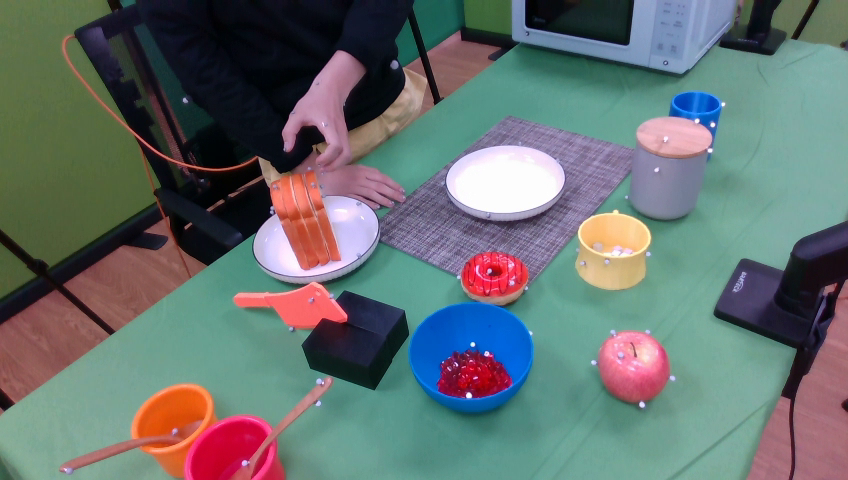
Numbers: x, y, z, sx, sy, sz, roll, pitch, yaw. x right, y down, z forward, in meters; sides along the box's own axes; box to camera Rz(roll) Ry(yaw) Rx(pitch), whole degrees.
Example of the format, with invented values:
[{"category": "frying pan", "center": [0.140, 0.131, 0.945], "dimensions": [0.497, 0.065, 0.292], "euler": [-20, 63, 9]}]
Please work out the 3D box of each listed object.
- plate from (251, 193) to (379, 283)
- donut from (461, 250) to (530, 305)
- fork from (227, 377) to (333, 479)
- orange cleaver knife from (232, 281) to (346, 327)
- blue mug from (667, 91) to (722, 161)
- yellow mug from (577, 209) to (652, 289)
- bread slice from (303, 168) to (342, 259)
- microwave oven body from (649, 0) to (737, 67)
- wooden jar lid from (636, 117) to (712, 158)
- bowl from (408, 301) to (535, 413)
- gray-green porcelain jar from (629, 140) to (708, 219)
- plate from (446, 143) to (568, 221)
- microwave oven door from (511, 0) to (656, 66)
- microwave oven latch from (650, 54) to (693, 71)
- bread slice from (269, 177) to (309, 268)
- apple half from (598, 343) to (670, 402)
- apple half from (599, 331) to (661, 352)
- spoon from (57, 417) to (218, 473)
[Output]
[{"category": "plate", "center": [-0.174, -0.001, 0.984], "dimensions": [0.209, 0.038, 0.208], "euler": [-4, 41, 4]}, {"category": "donut", "center": [0.103, 0.053, 0.872], "dimensions": [0.099, 0.048, 0.098], "euler": [-4, 40, 4]}, {"category": "fork", "center": [-0.163, 0.216, 0.647], "dimensions": [0.207, 0.019, 0.028], "euler": [-49, 41, 16]}, {"category": "orange cleaver knife", "center": [-0.192, 0.093, 0.844], "dimensions": [0.210, 0.077, 0.012], "euler": [-7, 31, 38]}, {"category": "blue mug", "center": [0.474, -0.207, 1.079], "dimensions": [0.082, 0.106, 0.116], "euler": [4, 42, 13]}, {"category": "yellow mug", "center": [0.279, 0.004, 0.893], "dimensions": [0.099, 0.064, 0.130], "euler": [5, 41, 15]}, {"category": "bread slice", "center": [-0.161, -0.046, 0.952], "dimensions": [0.018, 0.135, 0.106], "euler": [-18, 45, -6]}, {"category": "microwave oven body", "center": [0.475, -0.602, 1.411], "dimensions": [0.438, 0.261, 0.327], "euler": [23, 50, 32]}, {"category": "wooden jar lid", "center": [0.377, -0.151, 0.917], "dimensions": [0.108, 0.021, 0.108], "euler": [-2, 42, 3]}, {"category": "bowl", "center": [0.059, 0.156, 0.739], "dimensions": [0.151, 0.077, 0.150], "euler": [-4, 40, 4]}, {"category": "gray-green porcelain jar", "center": [0.383, -0.105, 0.958], "dimensions": [0.106, 0.127, 0.105], "euler": [-4, 41, 4]}, {"category": "plate", "center": [0.142, -0.096, 1.045], "dimensions": [0.207, 0.039, 0.206], "euler": [-4, 40, 4]}, {"category": "microwave oven door", "center": [0.350, -0.539, 1.348], "dimensions": [0.353, 0.245, 0.039], "euler": [24, 50, 31]}, {"category": "microwave oven latch", "center": [0.531, -0.386, 1.301], "dimensions": [0.078, 0.029, 0.030], "euler": [26, 51, 33]}, {"category": "bread slice", "center": [-0.211, -0.034, 0.946], "dimensions": [0.019, 0.132, 0.104], "euler": [-18, 39, -3]}, {"category": "apple half", "center": [0.247, 0.161, 0.710], "dimensions": [0.081, 0.075, 0.053], "euler": [2, 47, 5]}, {"category": "apple half", "center": [0.249, 0.134, 0.738], "dimensions": [0.081, 0.081, 0.032], "euler": [-1, 46, 7]}, {"category": "spoon", "center": [-0.304, 0.221, 0.661], "dimensions": [0.041, 0.195, 0.021], "euler": [19, 92, 27]}]
